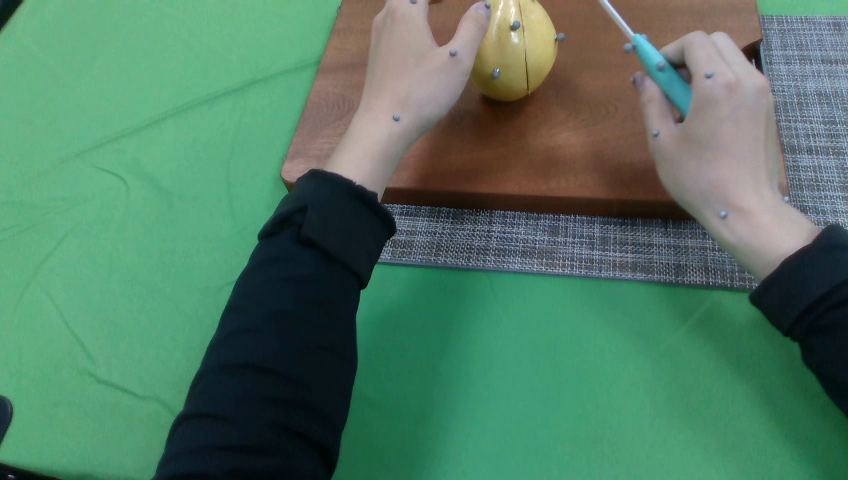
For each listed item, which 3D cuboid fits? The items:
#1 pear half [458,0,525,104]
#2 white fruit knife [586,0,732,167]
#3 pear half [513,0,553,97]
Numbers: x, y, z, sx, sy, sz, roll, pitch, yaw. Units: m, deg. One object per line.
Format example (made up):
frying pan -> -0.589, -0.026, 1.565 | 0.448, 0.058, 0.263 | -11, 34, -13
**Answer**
pear half -> 0.054, -0.165, 0.495 | 0.056, 0.111, 0.075 | -12, 52, 3
white fruit knife -> 0.147, -0.133, 0.427 | 0.016, 0.027, 0.207 | -40, 87, 15
pear half -> 0.090, -0.163, 0.501 | 0.031, 0.089, 0.069 | -10, 53, 2
